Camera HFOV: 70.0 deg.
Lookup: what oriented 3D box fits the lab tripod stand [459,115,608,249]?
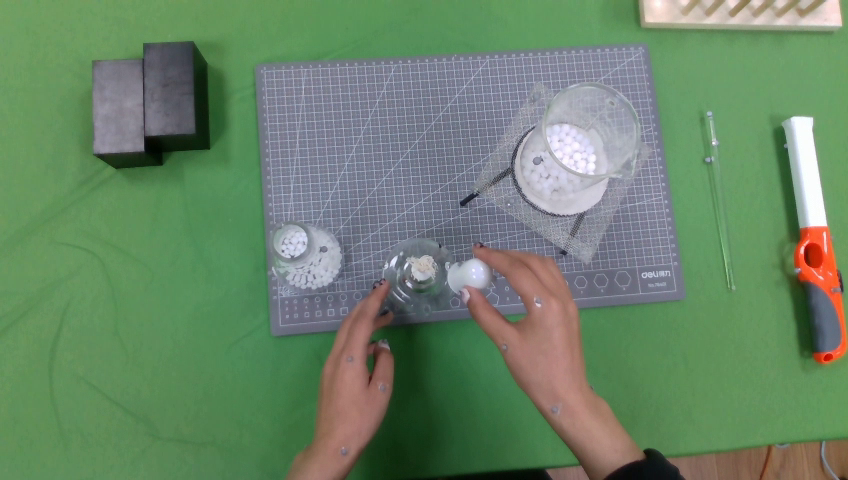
[{"bbox_3d":[0.115,-0.058,0.607,0.148,0.131,0.148,0,83,-3],"label":"lab tripod stand"}]

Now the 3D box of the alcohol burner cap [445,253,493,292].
[{"bbox_3d":[0.042,0.026,0.528,0.034,0.048,0.033,4,79,-19],"label":"alcohol burner cap"}]

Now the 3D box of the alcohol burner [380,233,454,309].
[{"bbox_3d":[-0.006,0.029,0.596,0.078,0.119,0.077,0,82,-1],"label":"alcohol burner"}]

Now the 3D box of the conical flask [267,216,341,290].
[{"bbox_3d":[-0.121,0.007,0.587,0.075,0.122,0.075,1,81,-4],"label":"conical flask"}]

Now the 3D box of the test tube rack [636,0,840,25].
[{"bbox_3d":[0.374,-0.296,0.686,0.242,0.085,0.066,-1,81,-4],"label":"test tube rack"}]

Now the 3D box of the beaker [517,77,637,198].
[{"bbox_3d":[0.121,-0.076,0.495,0.074,0.100,0.084,-44,87,-8],"label":"beaker"}]

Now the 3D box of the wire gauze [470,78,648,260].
[{"bbox_3d":[0.121,-0.066,0.542,0.125,0.011,0.121,32,84,-1],"label":"wire gauze"}]

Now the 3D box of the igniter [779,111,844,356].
[{"bbox_3d":[0.434,-0.010,0.680,0.057,0.025,0.275,-1,82,-15],"label":"igniter"}]

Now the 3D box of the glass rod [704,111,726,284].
[{"bbox_3d":[0.330,-0.049,0.687,0.008,0.008,0.199,-3,85,-5],"label":"glass rod"}]
